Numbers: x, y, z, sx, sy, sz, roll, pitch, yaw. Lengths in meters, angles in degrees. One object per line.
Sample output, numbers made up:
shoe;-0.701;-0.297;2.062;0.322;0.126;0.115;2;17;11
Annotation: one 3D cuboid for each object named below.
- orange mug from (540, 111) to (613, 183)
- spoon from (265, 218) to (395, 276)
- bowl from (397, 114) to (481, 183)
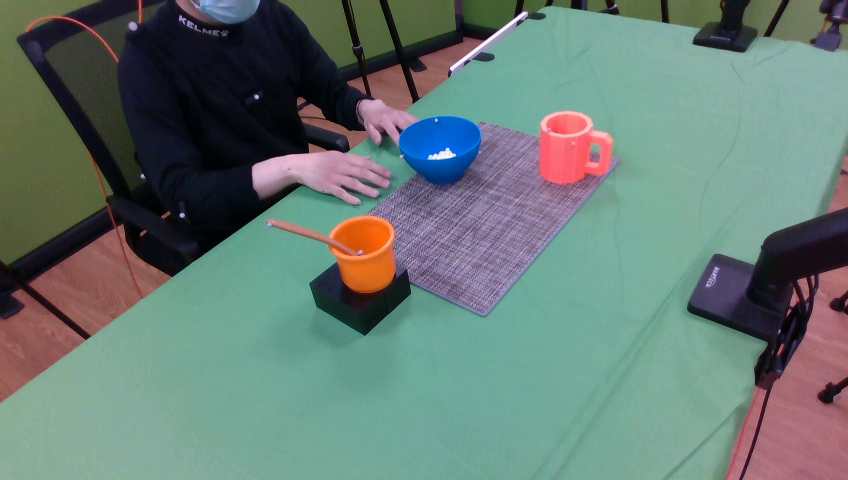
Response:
orange mug;0.263;-0.159;1.052;0.125;0.101;0.083;13;45;28
spoon;-0.120;0.007;0.803;0.021;0.195;0.041;-45;37;25
bowl;0.031;-0.156;1.097;0.151;0.077;0.150;-4;41;4
